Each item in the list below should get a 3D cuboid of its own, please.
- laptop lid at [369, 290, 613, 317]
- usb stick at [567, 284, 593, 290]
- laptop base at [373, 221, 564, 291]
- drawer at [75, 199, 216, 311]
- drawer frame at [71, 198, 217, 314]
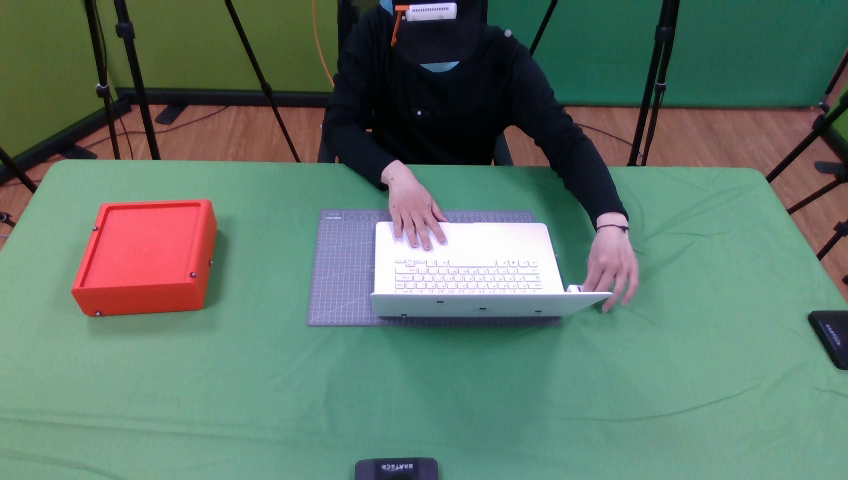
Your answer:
[{"bbox_3d":[0.092,0.103,0.965,0.357,0.242,0.013,0,75,-5],"label":"laptop lid"},{"bbox_3d":[0.279,0.096,1.114,0.059,0.027,0.021,2,47,-7],"label":"usb stick"},{"bbox_3d":[0.080,0.050,1.159,0.355,0.023,0.234,0,43,-4],"label":"laptop base"},{"bbox_3d":[-0.494,0.022,1.097,0.195,0.073,0.210,-2,47,-8],"label":"drawer"},{"bbox_3d":[-0.493,0.023,1.095,0.202,0.083,0.212,-3,47,-8],"label":"drawer frame"}]
